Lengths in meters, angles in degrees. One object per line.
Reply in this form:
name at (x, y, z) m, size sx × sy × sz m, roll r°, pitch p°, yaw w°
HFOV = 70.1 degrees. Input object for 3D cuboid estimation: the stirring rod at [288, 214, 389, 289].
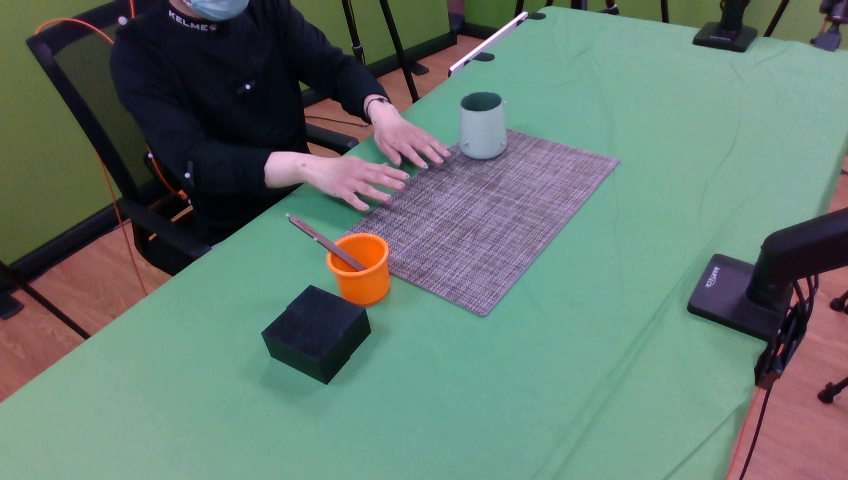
stirring rod at (-0.122, 0.018, 0.877) m, size 0.177 × 0.006 × 0.014 m, roll 37°, pitch 47°, yaw -13°

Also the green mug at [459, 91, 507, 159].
green mug at (0.116, -0.225, 1.144) m, size 0.092 × 0.105 × 0.125 m, roll 14°, pitch 45°, yaw 23°
